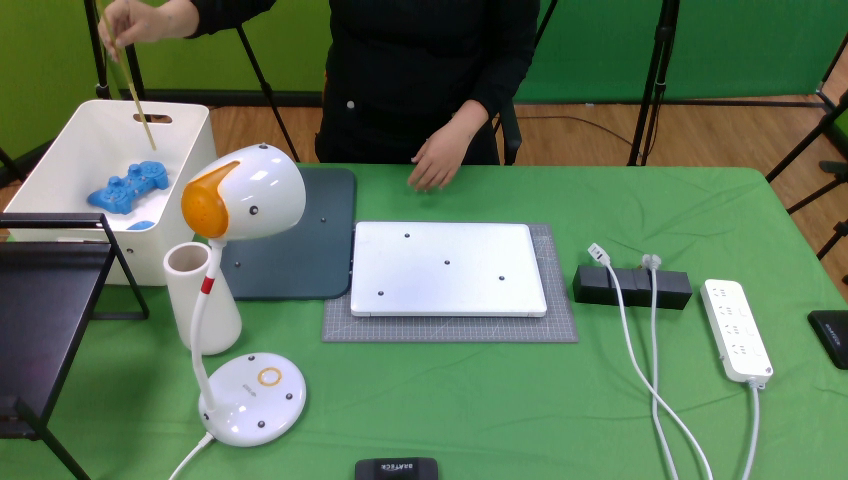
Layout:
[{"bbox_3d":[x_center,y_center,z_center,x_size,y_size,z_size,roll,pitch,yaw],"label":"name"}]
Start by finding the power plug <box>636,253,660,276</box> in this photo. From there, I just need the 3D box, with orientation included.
[{"bbox_3d":[0.415,0.050,1.139,0.035,0.053,0.072,46,49,10],"label":"power plug"}]

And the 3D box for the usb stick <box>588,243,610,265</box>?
[{"bbox_3d":[0.335,0.024,1.172,0.027,0.021,0.059,34,16,-14],"label":"usb stick"}]

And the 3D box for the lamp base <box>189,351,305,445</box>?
[{"bbox_3d":[-0.268,0.196,0.876,0.160,0.181,0.179,26,52,20],"label":"lamp base"}]

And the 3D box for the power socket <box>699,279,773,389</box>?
[{"bbox_3d":[0.551,0.157,1.081,0.072,0.033,0.225,5,46,1],"label":"power socket"}]

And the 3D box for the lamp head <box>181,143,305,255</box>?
[{"bbox_3d":[-0.216,-0.044,0.697,0.112,0.113,0.123,23,31,17],"label":"lamp head"}]

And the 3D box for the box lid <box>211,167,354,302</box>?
[{"bbox_3d":[-0.276,-0.024,1.205,0.263,0.015,0.369,0,46,-4],"label":"box lid"}]

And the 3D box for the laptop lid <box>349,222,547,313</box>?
[{"bbox_3d":[0.041,0.045,1.143,0.357,0.013,0.240,2,44,-3],"label":"laptop lid"}]

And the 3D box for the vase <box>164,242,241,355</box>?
[{"bbox_3d":[-0.349,0.096,0.954,0.098,0.201,0.097,3,47,-3],"label":"vase"}]

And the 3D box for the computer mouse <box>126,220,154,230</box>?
[{"bbox_3d":[-0.537,0.008,1.127,0.062,0.041,0.117,32,56,20],"label":"computer mouse"}]

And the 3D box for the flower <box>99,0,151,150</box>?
[{"bbox_3d":[-0.468,-0.276,0.939,0.044,0.363,0.038,3,51,-6],"label":"flower"}]

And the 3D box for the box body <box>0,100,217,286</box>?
[{"bbox_3d":[-0.560,-0.092,1.145,0.254,0.161,0.361,3,46,-2],"label":"box body"}]

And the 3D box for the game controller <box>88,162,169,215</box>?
[{"bbox_3d":[-0.597,-0.113,1.234,0.097,0.052,0.155,29,51,20],"label":"game controller"}]

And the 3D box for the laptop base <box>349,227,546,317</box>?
[{"bbox_3d":[0.040,0.055,1.149,0.355,0.023,0.234,1,42,-4],"label":"laptop base"}]
